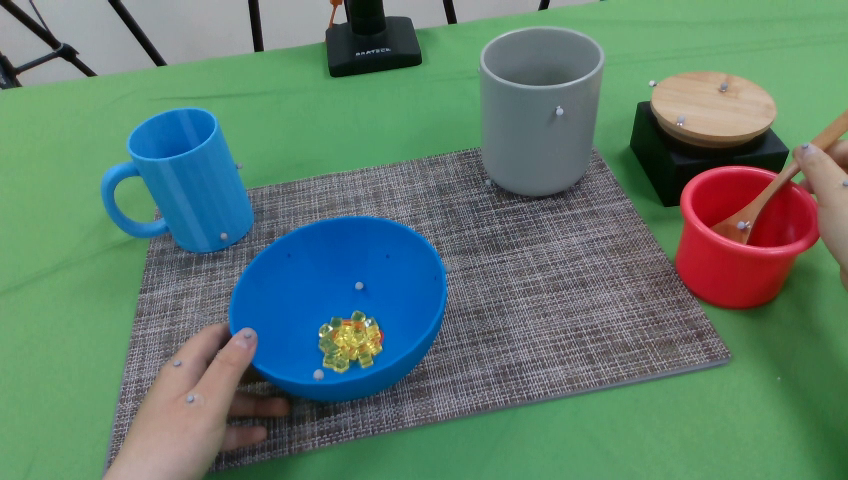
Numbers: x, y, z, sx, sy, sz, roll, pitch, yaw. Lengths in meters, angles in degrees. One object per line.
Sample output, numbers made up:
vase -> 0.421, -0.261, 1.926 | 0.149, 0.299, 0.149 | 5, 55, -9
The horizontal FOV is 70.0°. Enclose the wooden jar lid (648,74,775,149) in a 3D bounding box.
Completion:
wooden jar lid -> 0.263, -0.118, 0.561 | 0.108, 0.021, 0.107 | -4, 45, 4

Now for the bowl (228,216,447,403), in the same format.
bowl -> -0.055, 0.062, 0.441 | 0.151, 0.077, 0.150 | -3, 45, 3

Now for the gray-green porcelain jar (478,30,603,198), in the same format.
gray-green porcelain jar -> 0.104, -0.111, 0.561 | 0.106, 0.128, 0.105 | -3, 45, 4

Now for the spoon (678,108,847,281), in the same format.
spoon -> 0.273, -0.040, 0.464 | 0.022, 0.194, 0.041 | 24, 24, -34

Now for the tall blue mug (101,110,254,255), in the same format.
tall blue mug -> -0.216, -0.041, 0.539 | 0.077, 0.109, 0.107 | 25, 53, 26
